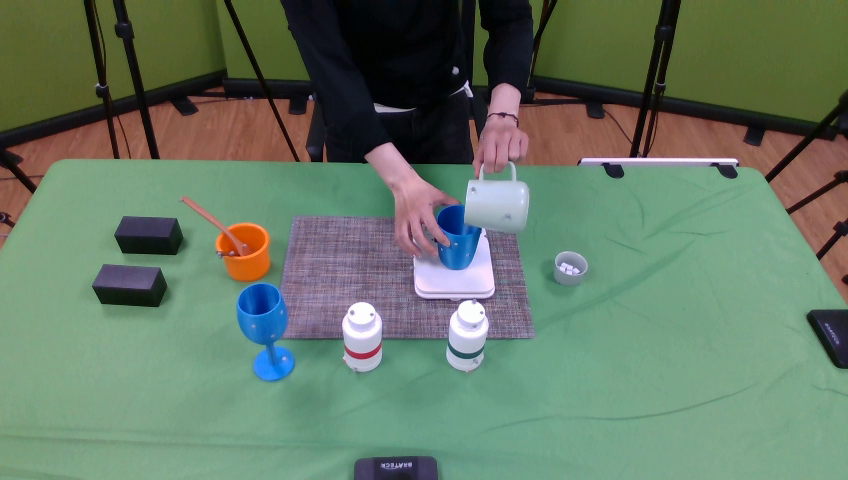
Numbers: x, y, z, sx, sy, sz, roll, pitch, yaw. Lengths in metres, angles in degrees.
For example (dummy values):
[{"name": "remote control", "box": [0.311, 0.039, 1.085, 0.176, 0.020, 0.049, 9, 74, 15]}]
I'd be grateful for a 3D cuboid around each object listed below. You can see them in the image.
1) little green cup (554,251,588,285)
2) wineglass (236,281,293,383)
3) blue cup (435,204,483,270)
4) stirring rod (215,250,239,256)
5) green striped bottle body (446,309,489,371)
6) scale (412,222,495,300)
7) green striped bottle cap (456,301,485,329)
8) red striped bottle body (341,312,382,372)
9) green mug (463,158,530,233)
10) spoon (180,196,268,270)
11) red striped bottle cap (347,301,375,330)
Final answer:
[{"name": "little green cup", "box": [0.277, 0.055, 1.151, 0.061, 0.039, 0.061, 1, 46, -1]}, {"name": "wineglass", "box": [-0.243, 0.143, 0.934, 0.074, 0.173, 0.073, 2, 46, -2]}, {"name": "blue cup", "box": [0.061, 0.000, 1.098, 0.092, 0.101, 0.092, 0, 44, 0]}, {"name": "stirring rod", "box": [-0.339, 0.024, 1.059, 0.014, 0.176, 0.006, 18, 86, -6]}, {"name": "green striped bottle body", "box": [0.070, 0.155, 0.984, 0.063, 0.120, 0.063, 2, 45, -2]}, {"name": "scale", "box": [0.052, 0.031, 1.158, 0.149, 0.032, 0.199, 1, 46, -4]}, {"name": "green striped bottle cap", "box": [0.073, 0.116, 0.943, 0.044, 0.020, 0.044, 2, 46, -2]}, {"name": "red striped bottle body", "box": [-0.100, 0.154, 0.972, 0.063, 0.120, 0.062, 2, 46, -2]}, {"name": "green mug", "box": [0.125, -0.077, 1.028, 0.105, 0.125, 0.092, 7, 6, 5]}, {"name": "spoon", "box": [-0.360, -0.014, 1.094, 0.021, 0.194, 0.041, -27, 26, 31]}, {"name": "red striped bottle cap", "box": [-0.097, 0.116, 0.934, 0.044, 0.018, 0.044, 2, 49, -2]}]
